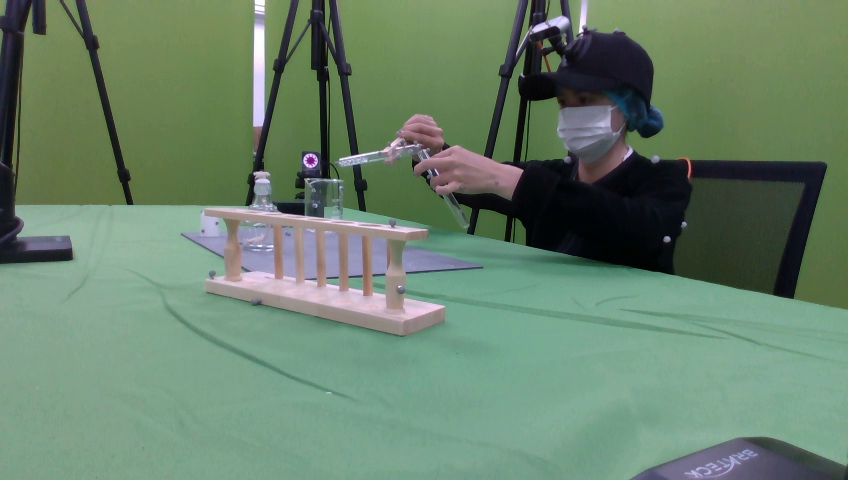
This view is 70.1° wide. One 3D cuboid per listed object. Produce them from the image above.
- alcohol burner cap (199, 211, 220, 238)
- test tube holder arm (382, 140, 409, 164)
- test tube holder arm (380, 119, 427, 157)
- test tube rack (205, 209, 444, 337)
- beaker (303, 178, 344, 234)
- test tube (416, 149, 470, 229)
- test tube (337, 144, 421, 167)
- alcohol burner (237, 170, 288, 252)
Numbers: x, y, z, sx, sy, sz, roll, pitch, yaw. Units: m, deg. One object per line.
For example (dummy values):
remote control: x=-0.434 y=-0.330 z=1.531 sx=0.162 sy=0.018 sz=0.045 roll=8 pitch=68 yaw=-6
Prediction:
alcohol burner cap: x=-0.356 y=-0.027 z=1.002 sx=0.034 sy=0.048 sz=0.034 roll=2 pitch=7 yaw=0
test tube holder arm: x=-0.047 y=-0.153 z=1.022 sx=0.015 sy=0.010 sz=0.088 roll=-1 pitch=32 yaw=25
test tube holder arm: x=-0.033 y=-0.180 z=1.056 sx=0.015 sy=0.013 sz=0.178 roll=-1 pitch=28 yaw=25
test tube rack: x=-0.100 y=0.021 z=0.565 sx=0.241 sy=0.085 sz=0.067 roll=7 pitch=8 yaw=32
beaker: x=-0.189 y=-0.063 z=1.119 sx=0.073 sy=0.100 sz=0.084 roll=6 pitch=9 yaw=28
test tube: x=0.031 y=-0.082 z=0.971 sx=0.017 sy=0.150 sz=0.017 roll=-30 pitch=-9 yaw=-5
test tube: x=-0.077 y=-0.140 z=1.009 sx=0.150 sy=0.017 sz=0.017 roll=-7 pitch=4 yaw=17
alcohol burner: x=-0.236 y=-0.042 z=0.882 sx=0.078 sy=0.119 sz=0.078 roll=2 pitch=9 yaw=0
